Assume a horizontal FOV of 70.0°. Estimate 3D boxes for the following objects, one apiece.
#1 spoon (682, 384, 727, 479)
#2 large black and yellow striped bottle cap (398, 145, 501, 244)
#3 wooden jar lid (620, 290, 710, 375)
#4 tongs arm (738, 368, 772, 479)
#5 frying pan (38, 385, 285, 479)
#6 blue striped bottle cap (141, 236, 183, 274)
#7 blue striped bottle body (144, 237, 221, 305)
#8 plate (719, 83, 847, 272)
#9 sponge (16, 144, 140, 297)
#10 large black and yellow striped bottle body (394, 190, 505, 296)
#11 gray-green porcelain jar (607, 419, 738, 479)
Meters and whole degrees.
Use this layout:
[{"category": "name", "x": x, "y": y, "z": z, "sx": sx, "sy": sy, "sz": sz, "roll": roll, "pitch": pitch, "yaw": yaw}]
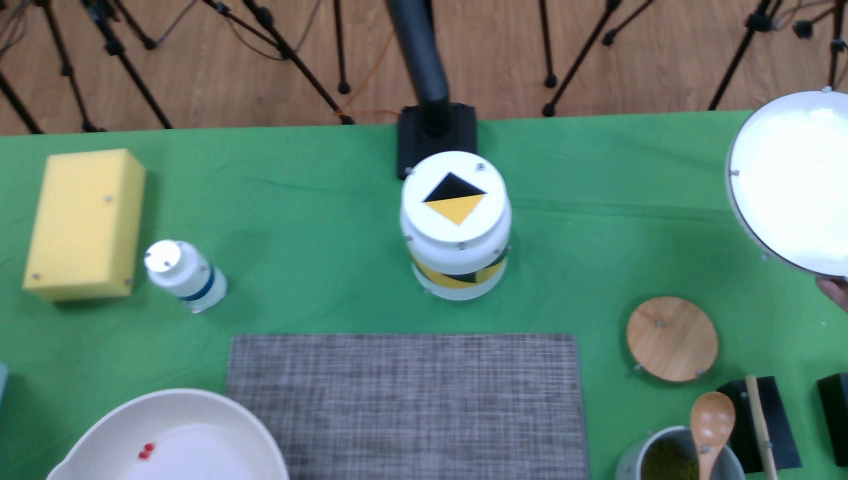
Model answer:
[{"category": "spoon", "x": 0.257, "y": 0.235, "z": 0.581, "sx": 0.041, "sy": 0.022, "sz": 0.193, "roll": 15, "pitch": 73, "yaw": 8}, {"category": "large black and yellow striped bottle cap", "x": 0.028, "y": -0.052, "z": 0.669, "sx": 0.115, "sy": 0.019, "sz": 0.114, "roll": -1, "pitch": 69, "yaw": 4}, {"category": "wooden jar lid", "x": 0.300, "y": 0.116, "z": 0.760, "sx": 0.108, "sy": 0.021, "sz": 0.107, "roll": -1, "pitch": 69, "yaw": 4}, {"category": "tongs arm", "x": 0.391, "y": 0.325, "z": 0.628, "sx": 0.051, "sy": 0.026, "sz": 0.383, "roll": -5, "pitch": 77, "yaw": 1}, {"category": "frying pan", "x": -0.323, "y": 0.402, "z": 0.642, "sx": 0.306, "sy": 0.103, "sz": 0.485, "roll": 15, "pitch": 62, "yaw": 12}, {"category": "blue striped bottle cap", "x": -0.319, "y": 0.017, "z": 0.736, "sx": 0.044, "sy": 0.021, "sz": 0.044, "roll": -1, "pitch": 69, "yaw": 4}, {"category": "blue striped bottle body", "x": -0.315, "y": 0.038, "z": 0.783, "sx": 0.063, "sy": 0.122, "sz": 0.062, "roll": -2, "pitch": 67, "yaw": 4}, {"category": "plate", "x": 0.418, "y": -0.065, "z": 0.643, "sx": 0.209, "sy": 0.038, "sz": 0.208, "roll": -1, "pitch": 74, "yaw": 4}, {"category": "sponge", "x": -0.482, "y": -0.028, "z": 0.854, "sx": 0.118, "sy": 0.061, "sz": 0.205, "roll": -6, "pitch": 68, "yaw": 1}, {"category": "large black and yellow striped bottle body", "x": 0.033, "y": -0.018, "z": 0.747, "sx": 0.131, "sy": 0.185, "sz": 0.130, "roll": -1, "pitch": 67, "yaw": 4}, {"category": "gray-green porcelain jar", "x": 0.258, "y": 0.252, "z": 0.649, "sx": 0.106, "sy": 0.127, "sz": 0.105, "roll": -2, "pitch": 68, "yaw": 4}]
